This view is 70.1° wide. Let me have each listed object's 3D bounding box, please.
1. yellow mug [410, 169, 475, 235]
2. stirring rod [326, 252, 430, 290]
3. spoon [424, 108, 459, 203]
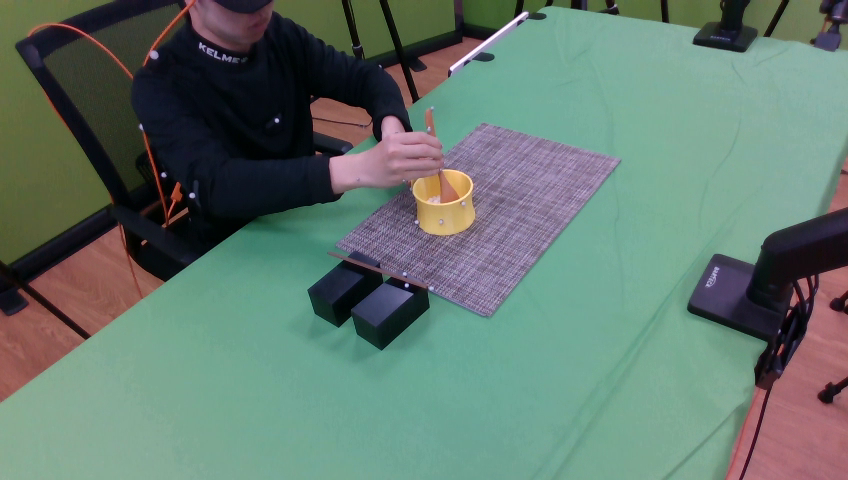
[{"bbox_3d":[0.022,-0.070,1.007,0.129,0.064,0.100,29,52,36],"label":"yellow mug"},{"bbox_3d":[-0.068,0.043,0.859,0.175,0.006,0.014,17,11,26],"label":"stirring rod"},{"bbox_3d":[0.024,-0.115,0.951,0.042,0.194,0.021,-28,30,-21],"label":"spoon"}]
